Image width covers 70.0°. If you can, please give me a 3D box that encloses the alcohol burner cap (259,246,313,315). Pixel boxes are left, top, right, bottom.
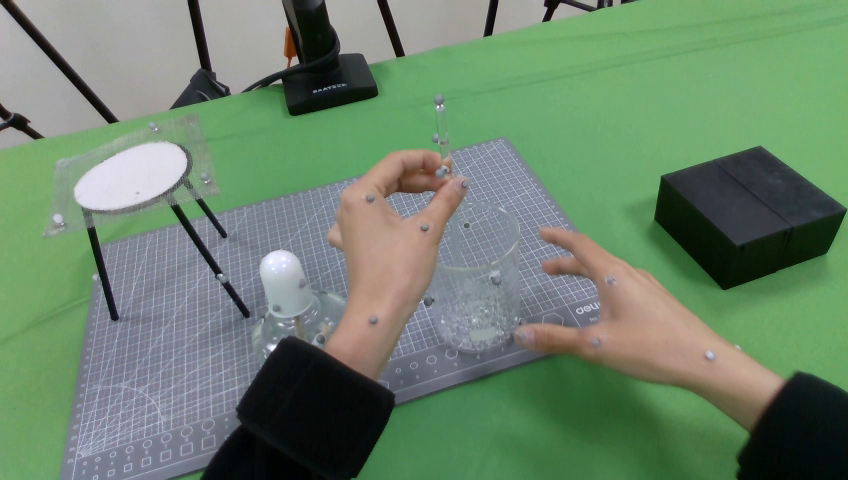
[{"bbox_3d":[-0.098,0.026,0.422,0.034,0.048,0.033,-4,40,4],"label":"alcohol burner cap"}]

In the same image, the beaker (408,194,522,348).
[{"bbox_3d":[0.034,0.028,0.460,0.084,0.101,0.073,-19,43,-9],"label":"beaker"}]

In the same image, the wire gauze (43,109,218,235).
[{"bbox_3d":[-0.230,-0.055,0.472,0.125,0.011,0.120,-21,44,-11],"label":"wire gauze"}]

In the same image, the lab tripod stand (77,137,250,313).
[{"bbox_3d":[-0.222,-0.007,0.518,0.148,0.133,0.147,-5,45,5],"label":"lab tripod stand"}]

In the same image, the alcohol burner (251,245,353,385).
[{"bbox_3d":[-0.094,0.052,0.447,0.078,0.120,0.077,-6,41,5],"label":"alcohol burner"}]

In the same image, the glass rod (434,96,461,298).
[{"bbox_3d":[0.018,-0.019,0.435,0.008,0.201,0.008,-4,49,4],"label":"glass rod"}]
